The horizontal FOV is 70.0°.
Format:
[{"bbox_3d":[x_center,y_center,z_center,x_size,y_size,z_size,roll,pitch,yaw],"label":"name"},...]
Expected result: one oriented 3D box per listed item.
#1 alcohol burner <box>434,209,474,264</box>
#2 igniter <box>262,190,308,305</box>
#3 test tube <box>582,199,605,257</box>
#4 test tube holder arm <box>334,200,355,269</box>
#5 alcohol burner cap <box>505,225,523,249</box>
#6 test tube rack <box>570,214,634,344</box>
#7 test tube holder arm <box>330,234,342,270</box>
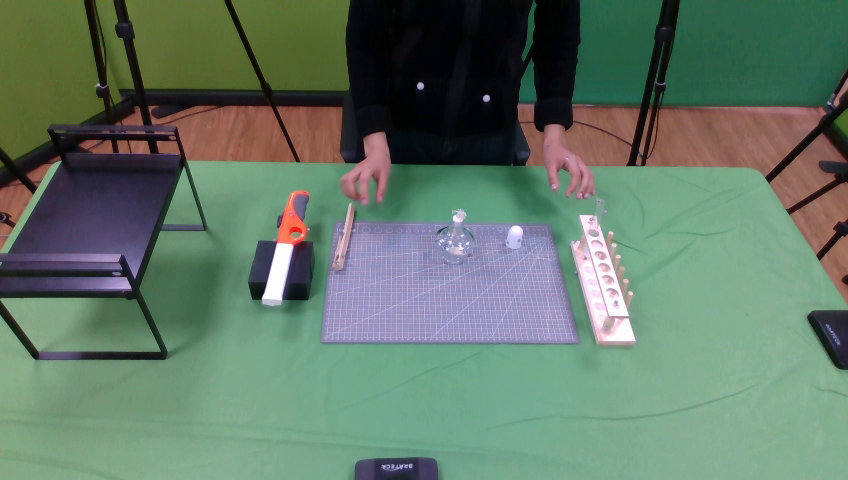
[{"bbox_3d":[0.058,-0.011,1.147,0.078,0.119,0.077,3,44,-3],"label":"alcohol burner"},{"bbox_3d":[-0.252,0.003,1.108,0.057,0.025,0.275,7,47,-6],"label":"igniter"},{"bbox_3d":[0.314,-0.019,1.129,0.017,0.151,0.017,0,48,1],"label":"test tube"},{"bbox_3d":[-0.155,-0.013,1.191,0.013,0.015,0.177,-15,42,23],"label":"test tube holder arm"},{"bbox_3d":[0.180,-0.009,1.203,0.034,0.048,0.033,2,46,-2],"label":"alcohol burner cap"},{"bbox_3d":[0.333,0.067,1.116,0.067,0.085,0.241,1,46,-4],"label":"test tube rack"},{"bbox_3d":[-0.164,0.021,1.163,0.010,0.015,0.087,-15,43,23],"label":"test tube holder arm"}]
